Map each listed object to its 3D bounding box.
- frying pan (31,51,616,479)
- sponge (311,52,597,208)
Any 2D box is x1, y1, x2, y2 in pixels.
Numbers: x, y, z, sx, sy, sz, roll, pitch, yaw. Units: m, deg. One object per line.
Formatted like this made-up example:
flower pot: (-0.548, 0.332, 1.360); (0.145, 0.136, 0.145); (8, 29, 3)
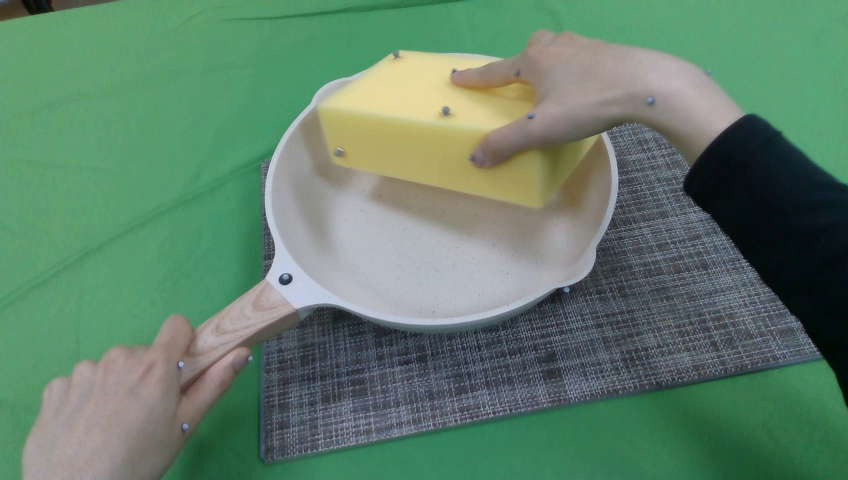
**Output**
frying pan: (-0.063, 0.009, 0.481); (0.488, 0.103, 0.304); (-35, 59, -27)
sponge: (0.025, -0.101, 0.511); (0.205, 0.061, 0.118); (15, 43, 30)
